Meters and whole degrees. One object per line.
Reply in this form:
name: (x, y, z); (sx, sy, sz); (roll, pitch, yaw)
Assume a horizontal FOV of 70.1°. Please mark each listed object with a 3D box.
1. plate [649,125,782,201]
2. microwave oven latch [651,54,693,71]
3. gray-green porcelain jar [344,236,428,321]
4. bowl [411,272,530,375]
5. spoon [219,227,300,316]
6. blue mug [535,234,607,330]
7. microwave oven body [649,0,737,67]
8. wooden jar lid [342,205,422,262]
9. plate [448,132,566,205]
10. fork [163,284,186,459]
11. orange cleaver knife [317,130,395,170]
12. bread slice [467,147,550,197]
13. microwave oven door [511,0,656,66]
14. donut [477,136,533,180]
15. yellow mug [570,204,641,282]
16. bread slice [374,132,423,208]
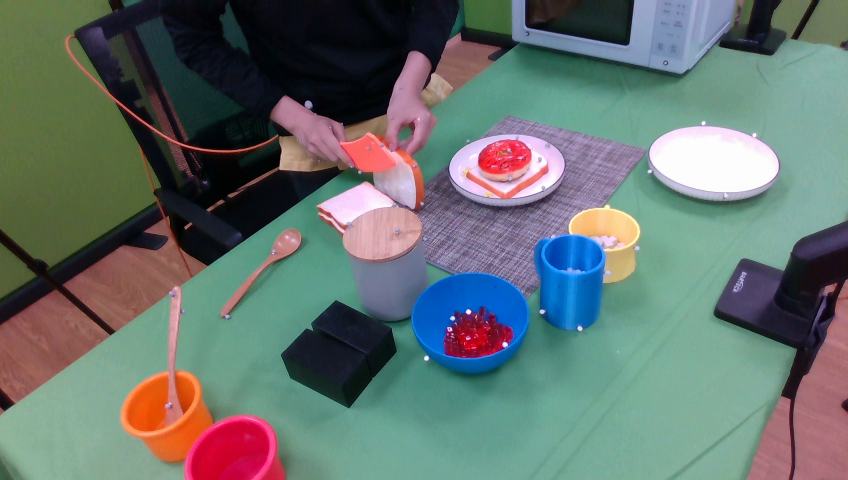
plate: (0.493, -0.127, 1.036); (0.207, 0.039, 0.206); (-4, 41, 4)
microwave oven latch: (0.531, -0.386, 1.301); (0.078, 0.029, 0.030); (26, 51, 33)
gray-green porcelain jar: (-0.049, 0.042, 0.849); (0.106, 0.127, 0.105); (-4, 41, 4)
bowl: (0.061, 0.120, 0.780); (0.151, 0.077, 0.150); (-4, 40, 4)
spoon: (-0.261, 0.046, 0.954); (0.041, 0.021, 0.194); (27, 48, 10)
blue mug: (0.191, 0.048, 0.824); (0.082, 0.106, 0.115); (-26, 44, -20)
microwave oven body: (0.475, -0.602, 1.411); (0.438, 0.261, 0.327); (23, 50, 32)
wooden jar lid: (-0.055, -0.006, 0.808); (0.108, 0.021, 0.108); (-6, 41, 6)
plate: (0.147, -0.124, 1.075); (0.209, 0.038, 0.208); (-4, 41, 4)
fork: (-0.302, 0.157, 0.733); (0.028, 0.019, 0.207); (-3, 84, 15)
orange cleaver knife: (-0.121, -0.152, 1.046); (0.012, 0.077, 0.209); (-47, 30, -23)
bread slice: (0.157, -0.128, 1.084); (0.132, 0.019, 0.104); (-34, 48, -24)
microwave oven door: (0.351, -0.539, 1.349); (0.353, 0.245, 0.039); (24, 50, 31)
donut: (0.141, -0.145, 1.058); (0.099, 0.048, 0.098); (-7, 41, 6)
yellow mug: (0.268, -0.005, 0.904); (0.099, 0.064, 0.130); (7, 41, 15)
bread slice: (-0.047, -0.113, 1.049); (0.018, 0.107, 0.133); (-26, 46, -28)
